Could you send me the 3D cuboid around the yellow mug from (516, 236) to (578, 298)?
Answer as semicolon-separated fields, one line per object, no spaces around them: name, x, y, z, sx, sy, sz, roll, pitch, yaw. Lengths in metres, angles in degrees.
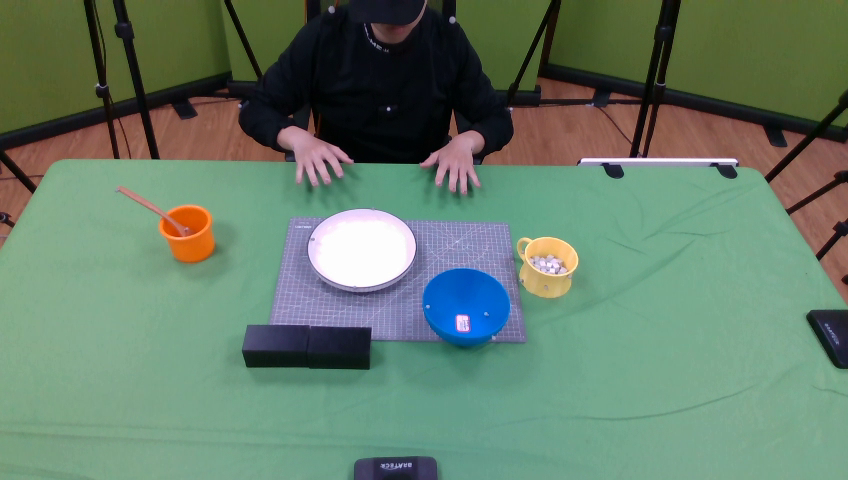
yellow mug;0.223;0.041;1.145;0.100;0.064;0.130;-30;54;-29

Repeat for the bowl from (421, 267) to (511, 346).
bowl;0.068;0.128;1.037;0.151;0.077;0.150;3;46;-2

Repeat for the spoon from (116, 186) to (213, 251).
spoon;-0.474;-0.041;1.112;0.021;0.195;0.041;-30;32;30

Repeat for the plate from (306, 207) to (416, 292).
plate;-0.119;0.021;1.153;0.209;0.038;0.208;2;46;-2
